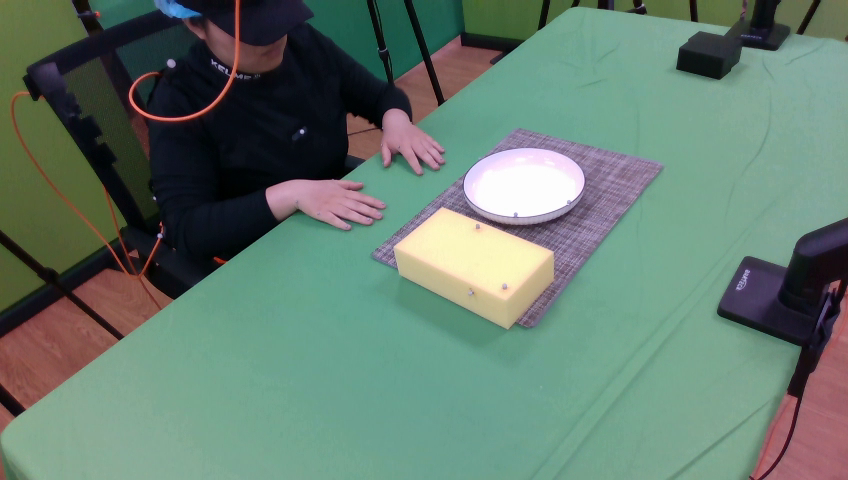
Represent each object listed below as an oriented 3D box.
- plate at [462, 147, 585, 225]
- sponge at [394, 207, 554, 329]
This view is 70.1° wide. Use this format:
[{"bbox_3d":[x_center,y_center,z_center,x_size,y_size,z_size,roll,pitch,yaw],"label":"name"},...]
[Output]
[{"bbox_3d":[0.170,-0.089,1.041,0.207,0.039,0.206,-5,40,5],"label":"plate"},{"bbox_3d":[0.073,0.035,0.895,0.205,0.061,0.118,24,50,33],"label":"sponge"}]
